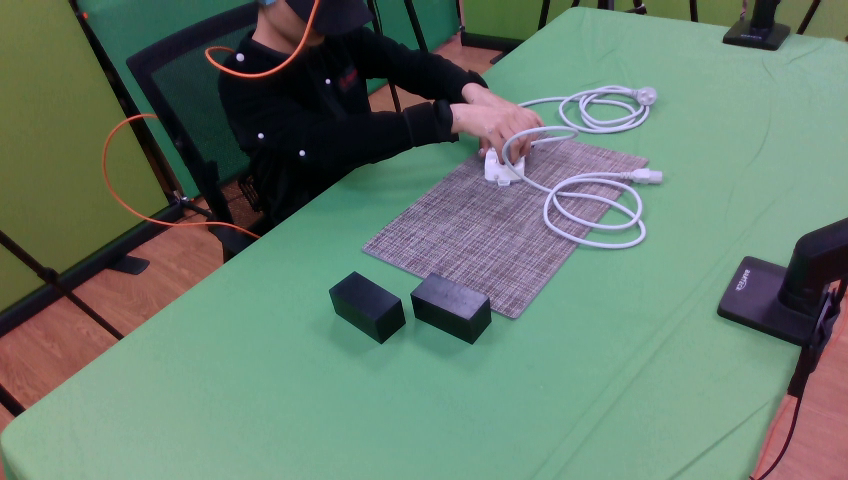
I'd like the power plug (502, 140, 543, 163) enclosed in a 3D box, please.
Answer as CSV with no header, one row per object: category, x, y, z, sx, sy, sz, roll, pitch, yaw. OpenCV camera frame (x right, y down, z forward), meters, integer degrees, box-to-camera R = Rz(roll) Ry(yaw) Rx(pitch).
power plug,0.174,-0.150,1.077,0.072,0.053,0.035,5,42,21

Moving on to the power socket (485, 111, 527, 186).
power socket,0.158,-0.181,1.153,0.072,0.033,0.226,0,41,11
